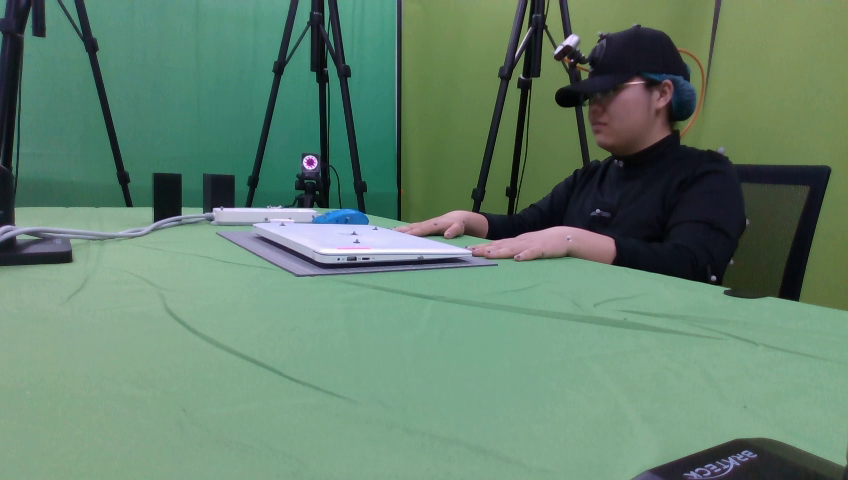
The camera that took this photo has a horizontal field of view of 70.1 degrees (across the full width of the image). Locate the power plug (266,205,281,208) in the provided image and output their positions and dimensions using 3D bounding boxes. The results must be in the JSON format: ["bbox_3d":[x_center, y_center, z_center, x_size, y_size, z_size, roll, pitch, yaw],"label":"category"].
[{"bbox_3d":[-0.344,-0.057,1.365,0.053,0.035,0.072,-21,-8,-15],"label":"power plug"}]

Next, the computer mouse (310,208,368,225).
[{"bbox_3d":[-0.179,-0.045,1.275,0.118,0.041,0.062,-6,13,-29],"label":"computer mouse"}]

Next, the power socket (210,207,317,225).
[{"bbox_3d":[-0.335,-0.051,1.282,0.228,0.032,0.072,-1,9,-28],"label":"power socket"}]

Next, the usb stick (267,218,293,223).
[{"bbox_3d":[-0.272,-0.026,1.107,0.059,0.027,0.021,-4,11,-28],"label":"usb stick"}]

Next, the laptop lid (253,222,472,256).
[{"bbox_3d":[-0.113,-0.005,0.955,0.243,0.013,0.355,1,7,-29],"label":"laptop lid"}]

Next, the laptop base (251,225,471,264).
[{"bbox_3d":[-0.115,0.007,0.955,0.237,0.023,0.352,2,6,-31],"label":"laptop base"}]
